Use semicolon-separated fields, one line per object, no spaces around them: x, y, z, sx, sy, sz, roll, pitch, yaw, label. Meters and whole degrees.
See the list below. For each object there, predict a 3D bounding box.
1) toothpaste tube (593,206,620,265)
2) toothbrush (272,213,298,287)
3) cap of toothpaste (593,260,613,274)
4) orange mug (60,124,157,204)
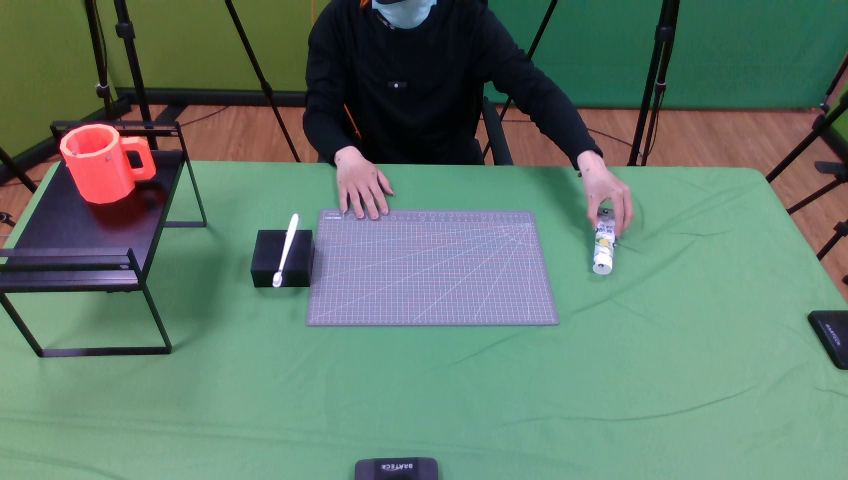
0.364;-0.007;1.215;0.055;0.035;0.164;13;51;4;toothpaste tube
-0.252;0.012;1.104;0.014;0.017;0.181;1;46;3;toothbrush
0.344;0.051;1.165;0.037;0.037;0.011;11;51;6;cap of toothpaste
-0.505;-0.127;0.980;0.126;0.101;0.083;-13;48;-10;orange mug
